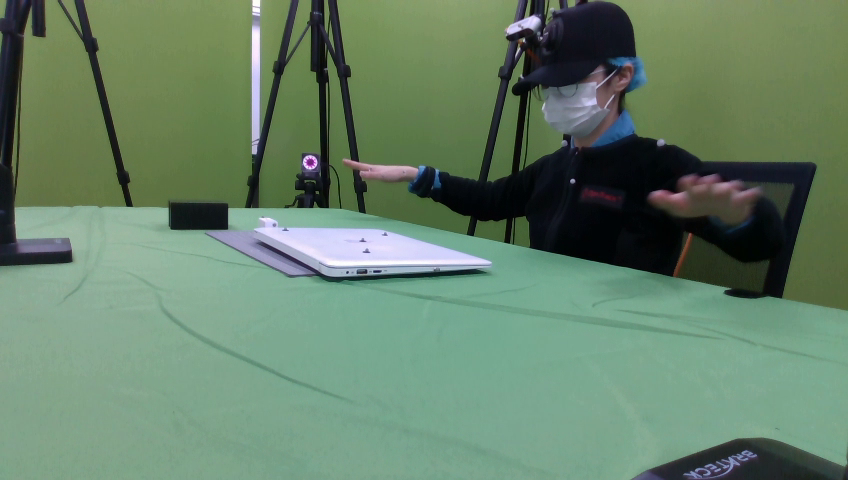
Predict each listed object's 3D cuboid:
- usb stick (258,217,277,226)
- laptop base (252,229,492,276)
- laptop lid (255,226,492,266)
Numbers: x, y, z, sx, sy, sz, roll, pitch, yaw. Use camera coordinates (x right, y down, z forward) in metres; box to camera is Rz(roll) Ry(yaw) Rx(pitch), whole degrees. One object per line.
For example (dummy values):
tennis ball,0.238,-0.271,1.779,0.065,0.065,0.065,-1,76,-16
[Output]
usb stick,-0.261,-0.022,1.016,0.021,0.027,0.059,0,13,-29
laptop base,-0.094,0.015,0.889,0.237,0.023,0.352,2,7,-30
laptop lid,-0.092,0.003,0.888,0.243,0.013,0.355,1,8,-28
